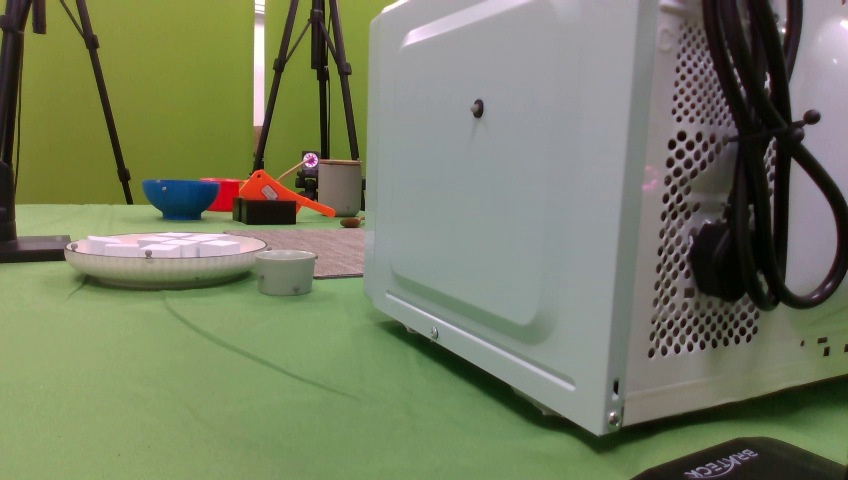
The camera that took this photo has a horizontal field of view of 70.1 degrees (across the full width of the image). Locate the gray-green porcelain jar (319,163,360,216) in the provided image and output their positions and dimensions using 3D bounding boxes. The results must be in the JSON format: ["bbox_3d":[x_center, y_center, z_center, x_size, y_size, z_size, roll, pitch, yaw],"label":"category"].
[{"bbox_3d":[-0.204,-0.126,1.490,0.106,0.126,0.106,2,7,0],"label":"gray-green porcelain jar"}]

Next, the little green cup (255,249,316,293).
[{"bbox_3d":[-0.144,0.031,0.627,0.061,0.038,0.061,2,6,0],"label":"little green cup"}]

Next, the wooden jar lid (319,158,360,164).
[{"bbox_3d":[-0.203,-0.189,1.482,0.108,0.020,0.108,2,10,0],"label":"wooden jar lid"}]

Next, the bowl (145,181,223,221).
[{"bbox_3d":[-0.499,-0.081,1.261,0.151,0.077,0.151,2,7,0],"label":"bowl"}]

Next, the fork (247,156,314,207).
[{"bbox_3d":[-0.360,-0.147,1.523,0.207,0.018,0.028,-43,16,-7],"label":"fork"}]

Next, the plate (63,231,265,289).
[{"bbox_3d":[-0.288,0.021,0.687,0.208,0.039,0.207,2,8,0],"label":"plate"}]

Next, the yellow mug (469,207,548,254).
[{"bbox_3d":[0.136,-0.015,0.950,0.131,0.064,0.099,3,5,-19],"label":"yellow mug"}]

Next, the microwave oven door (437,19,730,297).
[{"bbox_3d":[0.181,-0.076,0.618,0.358,0.243,0.039,-2,9,-28],"label":"microwave oven door"}]

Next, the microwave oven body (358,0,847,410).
[{"bbox_3d":[0.210,-0.051,0.471,0.444,0.260,0.324,-1,7,-28],"label":"microwave oven body"}]

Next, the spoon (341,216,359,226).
[{"bbox_3d":[-0.132,-0.048,1.305,0.041,0.021,0.194,-14,4,14],"label":"spoon"}]

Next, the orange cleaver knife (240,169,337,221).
[{"bbox_3d":[-0.286,-0.082,1.298,0.212,0.077,0.012,25,-2,-31],"label":"orange cleaver knife"}]

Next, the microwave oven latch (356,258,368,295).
[{"bbox_3d":[-0.019,0.031,0.529,0.079,0.029,0.030,-1,7,-26],"label":"microwave oven latch"}]
